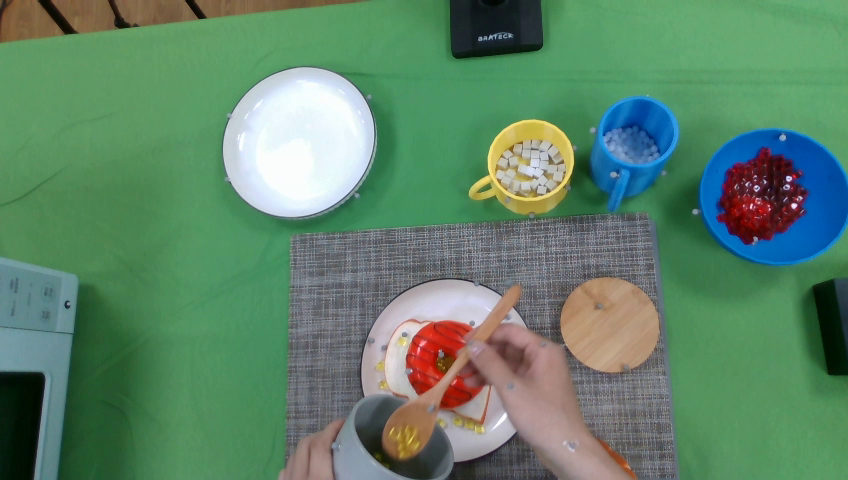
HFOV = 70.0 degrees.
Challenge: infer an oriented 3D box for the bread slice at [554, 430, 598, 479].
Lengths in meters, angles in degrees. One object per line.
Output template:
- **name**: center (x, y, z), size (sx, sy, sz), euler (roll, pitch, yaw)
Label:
- **bread slice**: center (0.152, 0.254, 0.618), size (0.018, 0.135, 0.106), euler (5, 77, 2)

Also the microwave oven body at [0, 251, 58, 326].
- **microwave oven body**: center (-0.638, 0.229, 0.678), size (0.325, 0.261, 0.439), euler (-2, 79, 8)

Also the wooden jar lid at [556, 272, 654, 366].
- **wooden jar lid**: center (0.207, 0.091, 0.697), size (0.108, 0.021, 0.108), euler (-2, 80, 9)

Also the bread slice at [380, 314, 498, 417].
- **bread slice**: center (0.013, 0.142, 0.712), size (0.131, 0.019, 0.104), euler (11, 80, 7)

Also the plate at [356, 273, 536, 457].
- **plate**: center (0.026, 0.143, 0.706), size (0.209, 0.038, 0.208), euler (-2, 78, 9)

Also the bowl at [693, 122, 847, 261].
- **bowl**: center (0.370, -0.045, 0.673), size (0.151, 0.077, 0.150), euler (-2, 79, 9)

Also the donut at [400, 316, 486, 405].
- **donut**: center (0.021, 0.134, 0.680), size (0.099, 0.048, 0.098), euler (-1, 79, 6)

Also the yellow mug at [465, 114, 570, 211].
- **yellow mug**: center (0.109, -0.085, 0.728), size (0.131, 0.064, 0.099), euler (-24, 75, 5)

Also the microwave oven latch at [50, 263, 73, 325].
- **microwave oven latch**: center (-0.478, 0.070, 0.784), size (0.030, 0.029, 0.079), euler (1, 79, 9)

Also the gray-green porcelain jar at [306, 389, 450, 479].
- **gray-green porcelain jar**: center (-0.050, 0.224, 0.573), size (0.105, 0.106, 0.127), euler (35, 111, 14)

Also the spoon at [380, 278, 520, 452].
- **spoon**: center (0.026, 0.112, 0.543), size (0.041, 0.022, 0.194), euler (40, 101, 13)

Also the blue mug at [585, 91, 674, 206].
- **blue mug**: center (0.226, -0.094, 0.691), size (0.082, 0.106, 0.116), euler (17, 82, 12)

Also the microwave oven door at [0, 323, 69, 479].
- **microwave oven door**: center (-0.495, 0.264, 0.643), size (0.039, 0.245, 0.354), euler (-2, 78, 9)

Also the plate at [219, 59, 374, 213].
- **plate**: center (-0.165, -0.134, 0.796), size (0.207, 0.039, 0.206), euler (-2, 79, 9)
